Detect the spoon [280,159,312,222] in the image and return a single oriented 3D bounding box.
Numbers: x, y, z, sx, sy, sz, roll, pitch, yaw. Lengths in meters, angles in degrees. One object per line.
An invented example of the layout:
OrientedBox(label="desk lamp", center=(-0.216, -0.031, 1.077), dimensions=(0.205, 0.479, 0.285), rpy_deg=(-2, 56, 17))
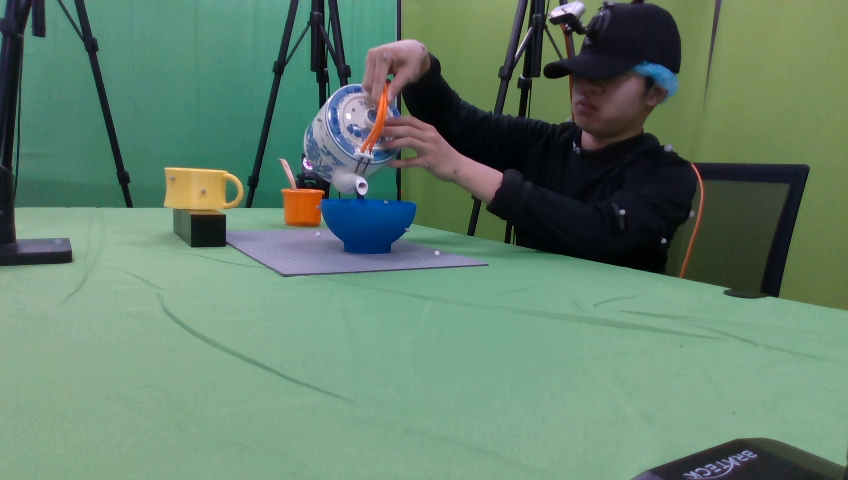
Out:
OrientedBox(label="spoon", center=(-0.284, -0.111, 1.320), dimensions=(0.042, 0.193, 0.021), rpy_deg=(-2, -36, -32))

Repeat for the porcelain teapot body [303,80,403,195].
OrientedBox(label="porcelain teapot body", center=(-0.111, -0.159, 1.025), dimensions=(0.146, 0.205, 0.224), rpy_deg=(10, -19, -26))

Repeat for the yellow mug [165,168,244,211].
OrientedBox(label="yellow mug", center=(-0.370, -0.086, 1.028), dimensions=(0.131, 0.064, 0.100), rpy_deg=(5, 8, 4))

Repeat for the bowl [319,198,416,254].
OrientedBox(label="bowl", center=(-0.089, -0.022, 0.941), dimensions=(0.151, 0.077, 0.151), rpy_deg=(2, 8, 0))

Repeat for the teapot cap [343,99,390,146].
OrientedBox(label="teapot cap", center=(-0.093, -0.196, 0.999), dimensions=(0.085, 0.085, 0.043), rpy_deg=(-2, -11, -31))
